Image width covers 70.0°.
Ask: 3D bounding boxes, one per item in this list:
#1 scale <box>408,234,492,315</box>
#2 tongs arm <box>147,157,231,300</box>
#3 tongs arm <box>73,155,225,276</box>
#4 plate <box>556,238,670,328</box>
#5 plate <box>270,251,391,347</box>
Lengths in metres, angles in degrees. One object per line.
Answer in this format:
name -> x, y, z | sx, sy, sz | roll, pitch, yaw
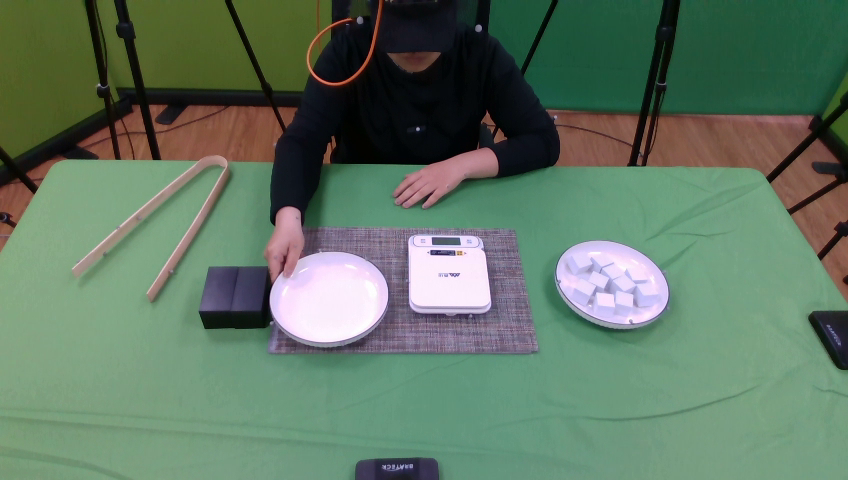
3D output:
scale -> 0.045, 0.055, 1.135 | 0.149, 0.032, 0.199 | 1, 46, -3
tongs arm -> -0.453, -0.036, 1.193 | 0.028, 0.028, 0.385 | 6, 46, 6
tongs arm -> -0.531, -0.058, 1.205 | 0.050, 0.026, 0.383 | 18, 47, 13
plate -> 0.348, 0.083, 1.130 | 0.209, 0.038, 0.208 | 2, 47, -2
plate -> -0.162, 0.106, 1.068 | 0.208, 0.039, 0.206 | 2, 46, -2
